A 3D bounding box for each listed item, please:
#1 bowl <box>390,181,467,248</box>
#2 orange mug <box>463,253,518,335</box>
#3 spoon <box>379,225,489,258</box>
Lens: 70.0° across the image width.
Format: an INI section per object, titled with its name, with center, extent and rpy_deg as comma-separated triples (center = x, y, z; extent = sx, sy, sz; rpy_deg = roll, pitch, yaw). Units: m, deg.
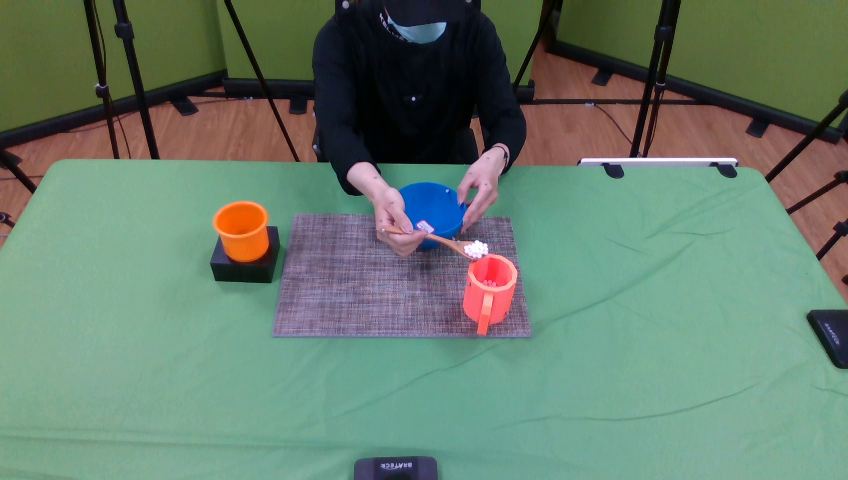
[bowl]
center = 0.007, -0.038, 1.188
extent = 0.151, 0.077, 0.150
rpy_deg = 2, 46, -2
[orange mug]
center = 0.113, 0.098, 1.050
extent = 0.083, 0.101, 0.125
rpy_deg = 9, 41, 6
[spoon]
center = 0.018, -0.002, 1.008
extent = 0.194, 0.022, 0.041
rpy_deg = 16, 34, -18
